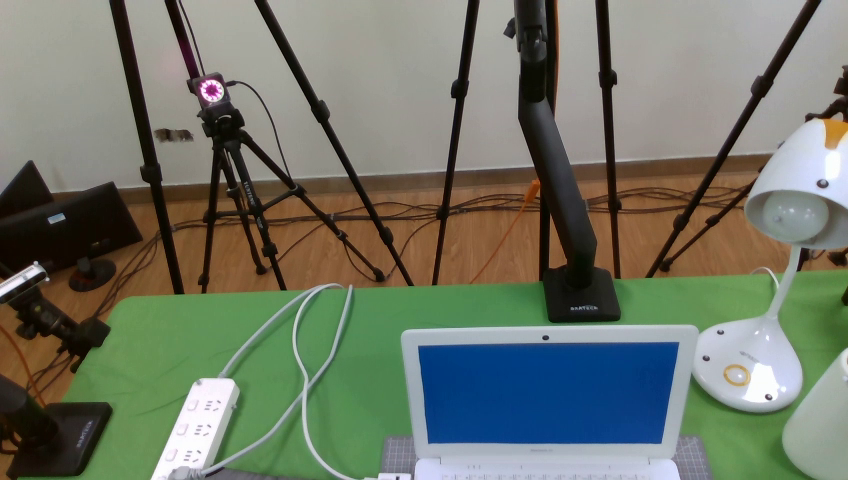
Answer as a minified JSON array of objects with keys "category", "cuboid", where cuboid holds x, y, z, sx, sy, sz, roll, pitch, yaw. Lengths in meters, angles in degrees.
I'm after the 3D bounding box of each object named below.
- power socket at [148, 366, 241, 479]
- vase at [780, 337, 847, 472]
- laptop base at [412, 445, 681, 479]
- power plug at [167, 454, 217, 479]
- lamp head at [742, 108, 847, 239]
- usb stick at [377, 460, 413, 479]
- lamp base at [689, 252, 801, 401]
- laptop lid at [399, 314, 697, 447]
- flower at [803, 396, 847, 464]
[{"category":"power socket","cuboid":[-0.339,0.283,0.905,0.072,0.033,0.224,1,42,7]},{"category":"vase","cuboid":[0.520,0.205,0.757,0.098,0.202,0.097,-5,42,5]},{"category":"laptop base","cuboid":[0.156,0.370,0.758,0.354,0.023,0.233,-2,46,5]},{"category":"power plug","cuboid":[-0.318,0.319,0.834,0.072,0.053,0.035,9,45,13]},{"category":"lamp head","cuboid":[0.416,-0.075,0.644,0.111,0.113,0.122,21,67,27]},{"category":"usb stick","cuboid":[-0.033,0.315,0.822,0.059,0.027,0.021,3,41,4]},{"category":"lamp base","cuboid":[0.484,0.111,0.878,0.159,0.182,0.179,24,48,29]},{"category":"laptop lid","cuboid":[0.152,0.190,0.780,0.356,0.244,0.013,-3,32,6]},{"category":"flower","cuboid":[0.529,0.138,0.706,0.038,0.364,0.043,1,31,-16]}]
